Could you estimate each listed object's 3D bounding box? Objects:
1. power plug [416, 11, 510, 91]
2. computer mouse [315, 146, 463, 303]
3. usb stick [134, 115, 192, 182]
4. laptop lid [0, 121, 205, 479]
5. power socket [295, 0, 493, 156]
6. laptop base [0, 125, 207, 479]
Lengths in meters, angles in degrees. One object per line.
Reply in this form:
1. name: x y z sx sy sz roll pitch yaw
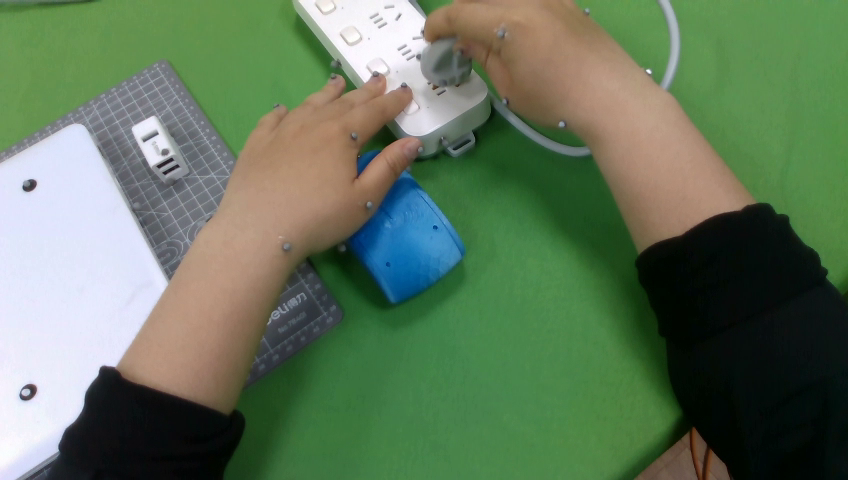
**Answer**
1. power plug: 0.029 -0.126 0.424 0.073 0.053 0.035 -14 62 -20
2. computer mouse: -0.027 -0.016 0.400 0.063 0.041 0.116 -33 58 -4
3. usb stick: -0.200 -0.074 0.458 0.021 0.027 0.058 -33 61 -7
4. laptop lid: -0.341 0.084 0.392 0.357 0.013 0.239 -33 66 -9
5. power socket: -0.030 -0.154 0.474 0.072 0.033 0.224 -32 63 -8
6. laptop base: -0.341 0.088 0.403 0.354 0.023 0.233 -34 67 -10
